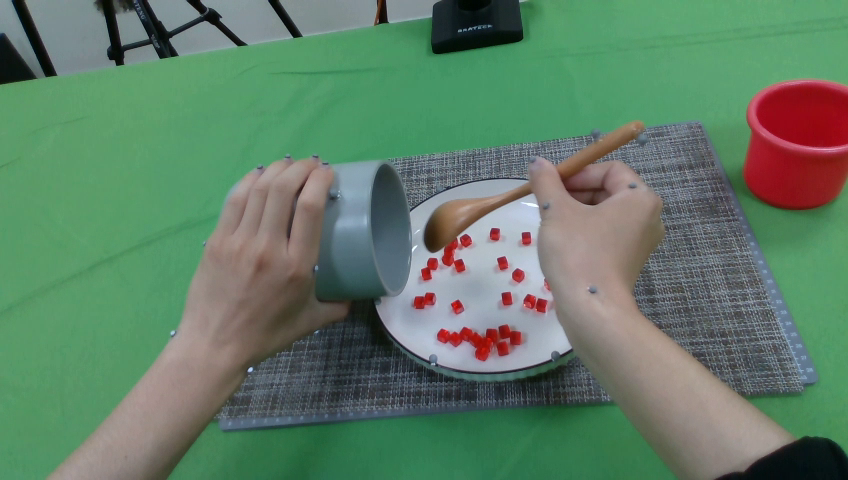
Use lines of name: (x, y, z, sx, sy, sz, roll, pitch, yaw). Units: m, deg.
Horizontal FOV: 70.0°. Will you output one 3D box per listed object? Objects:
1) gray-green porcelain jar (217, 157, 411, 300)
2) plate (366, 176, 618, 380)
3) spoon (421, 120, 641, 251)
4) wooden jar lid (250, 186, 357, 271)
gray-green porcelain jar: (-0.085, -0.007, 0.472, 0.126, 0.107, 0.105, -3, 48, 14)
plate: (0.055, 0.030, 0.511, 0.207, 0.039, 0.205, -7, 48, 8)
spoon: (0.067, -0.038, 0.439, 0.193, 0.022, 0.041, -25, 48, 32)
wooden jar lid: (-0.118, -0.011, 0.601, 0.108, 0.021, 0.107, -6, 47, 7)
